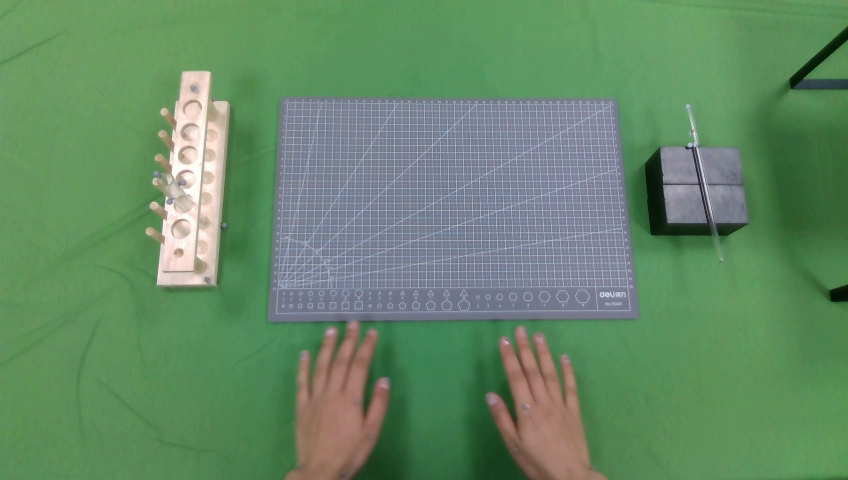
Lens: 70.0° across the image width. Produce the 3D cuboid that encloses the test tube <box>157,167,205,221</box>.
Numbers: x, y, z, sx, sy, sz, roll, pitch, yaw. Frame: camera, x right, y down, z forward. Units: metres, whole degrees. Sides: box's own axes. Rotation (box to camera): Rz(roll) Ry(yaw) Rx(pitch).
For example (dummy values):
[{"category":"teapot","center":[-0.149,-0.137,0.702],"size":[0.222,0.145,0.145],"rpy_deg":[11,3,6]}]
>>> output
[{"category":"test tube","center":[-0.263,-0.047,0.664],"size":[0.017,0.150,0.017],"rpy_deg":[2,76,-7]}]

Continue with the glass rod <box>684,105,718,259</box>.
[{"category":"glass rod","center":[0.336,-0.073,0.738],"size":[0.008,0.008,0.198],"rpy_deg":[-3,75,-3]}]

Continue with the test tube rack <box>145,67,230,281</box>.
[{"category":"test tube rack","center":[-0.285,-0.077,0.723],"size":[0.067,0.085,0.241],"rpy_deg":[0,75,-2]}]
